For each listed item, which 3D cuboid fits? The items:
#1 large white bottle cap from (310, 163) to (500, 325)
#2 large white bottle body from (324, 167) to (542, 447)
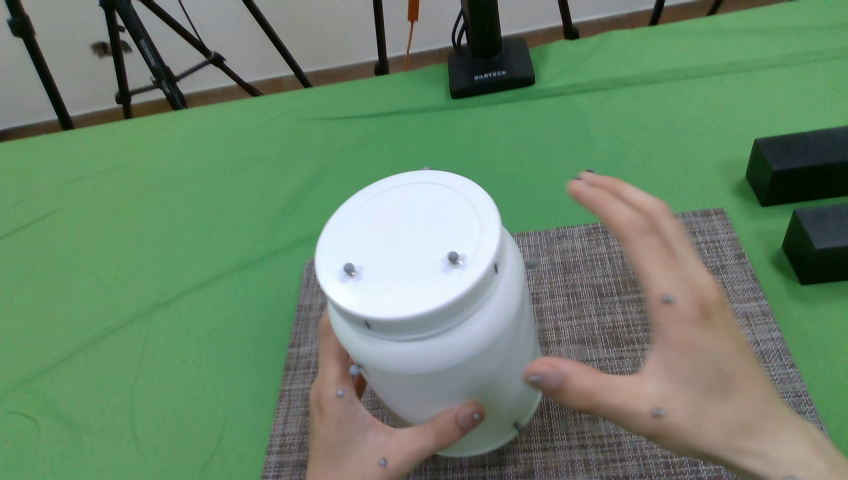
[{"bbox_3d":[-0.012,-0.001,0.362,0.114,0.018,0.113,-8,49,10],"label":"large white bottle cap"},{"bbox_3d":[0.009,0.051,0.424,0.130,0.186,0.129,-9,50,11],"label":"large white bottle body"}]
